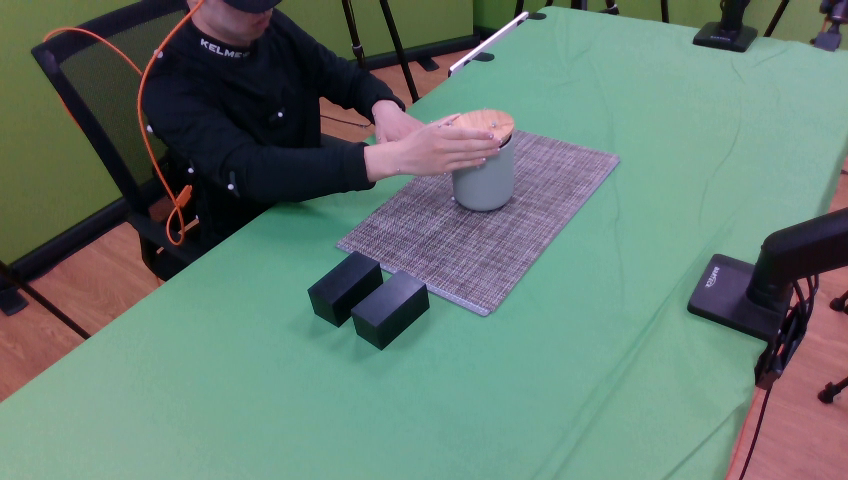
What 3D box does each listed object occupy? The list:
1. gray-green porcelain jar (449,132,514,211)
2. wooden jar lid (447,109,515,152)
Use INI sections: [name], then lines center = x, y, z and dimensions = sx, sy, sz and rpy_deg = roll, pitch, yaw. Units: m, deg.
[gray-green porcelain jar]
center = 0.098, -0.120, 1.009
dimensions = 0.106, 0.127, 0.105
rpy_deg = -4, 41, 4
[wooden jar lid]
center = 0.090, -0.173, 0.962
dimensions = 0.108, 0.021, 0.108
rpy_deg = -7, 39, 6
